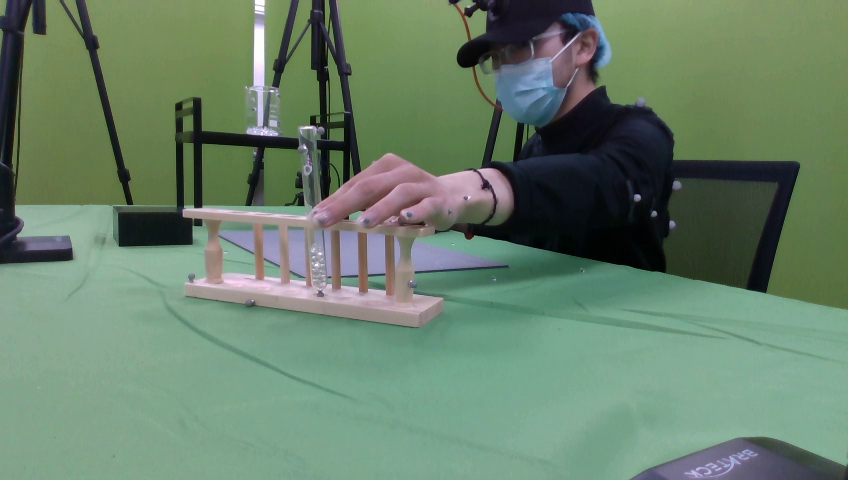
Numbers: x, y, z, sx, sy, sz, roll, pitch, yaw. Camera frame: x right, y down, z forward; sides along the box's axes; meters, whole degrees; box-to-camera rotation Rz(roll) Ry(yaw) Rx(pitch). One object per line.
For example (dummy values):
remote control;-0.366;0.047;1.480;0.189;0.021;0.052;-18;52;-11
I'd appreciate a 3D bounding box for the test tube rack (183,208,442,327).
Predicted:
test tube rack;-0.106;0.019;0.569;0.241;0.085;0.067;5;8;20

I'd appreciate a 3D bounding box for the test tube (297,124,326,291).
test tube;-0.101;-0.027;0.542;0.017;0.150;0.017;-2;10;1

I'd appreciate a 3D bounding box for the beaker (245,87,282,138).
beaker;-0.337;-0.266;1.260;0.074;0.100;0.084;5;8;23
